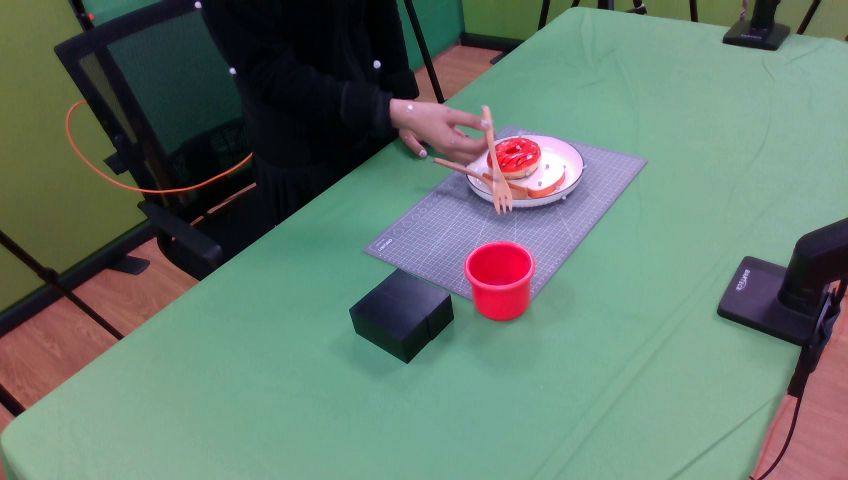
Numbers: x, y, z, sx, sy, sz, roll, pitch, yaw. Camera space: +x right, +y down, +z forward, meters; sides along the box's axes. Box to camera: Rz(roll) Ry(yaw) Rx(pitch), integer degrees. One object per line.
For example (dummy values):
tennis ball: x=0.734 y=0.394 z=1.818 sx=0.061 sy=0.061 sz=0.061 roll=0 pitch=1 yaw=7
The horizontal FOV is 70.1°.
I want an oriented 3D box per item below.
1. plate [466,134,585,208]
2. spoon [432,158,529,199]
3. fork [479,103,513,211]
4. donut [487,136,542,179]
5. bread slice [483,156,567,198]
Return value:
plate: x=0.178 y=-0.120 z=1.075 sx=0.209 sy=0.038 sz=0.208 roll=-5 pitch=40 yaw=5
spoon: x=0.095 y=-0.108 z=1.055 sx=0.192 sy=0.022 sz=0.042 roll=30 pitch=50 yaw=21
fork: x=0.103 y=-0.128 z=0.899 sx=0.028 sy=0.019 sz=0.206 roll=-18 pitch=60 yaw=18
donut: x=0.159 y=-0.147 z=1.068 sx=0.099 sy=0.048 sz=0.098 roll=-9 pitch=39 yaw=8
bread slice: x=0.187 y=-0.120 z=1.077 sx=0.130 sy=0.019 sz=0.105 roll=27 pitch=53 yaw=37
